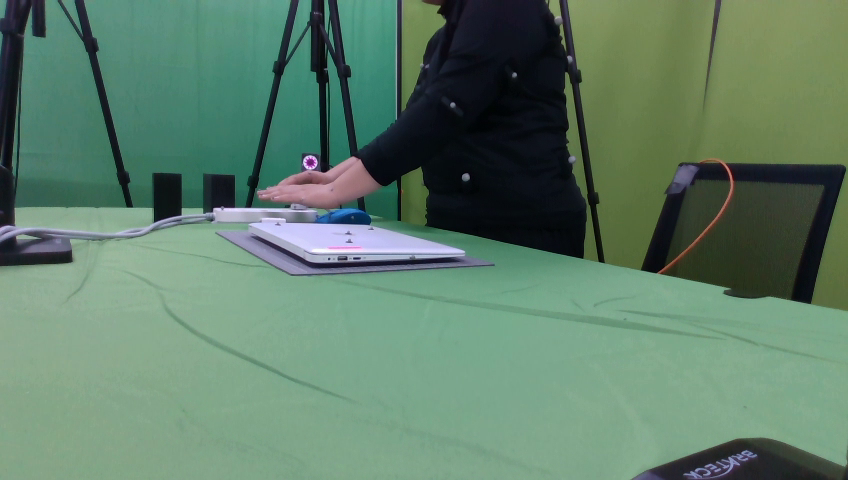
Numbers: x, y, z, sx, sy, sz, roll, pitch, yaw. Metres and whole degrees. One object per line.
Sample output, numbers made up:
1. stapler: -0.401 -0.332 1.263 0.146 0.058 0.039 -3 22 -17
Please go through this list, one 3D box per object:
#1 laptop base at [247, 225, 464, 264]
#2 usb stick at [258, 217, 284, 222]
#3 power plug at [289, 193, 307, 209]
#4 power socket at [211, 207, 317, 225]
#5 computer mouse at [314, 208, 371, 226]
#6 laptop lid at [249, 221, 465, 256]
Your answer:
1. laptop base: -0.124 0.006 0.955 0.237 0.023 0.352 2 6 -30
2. usb stick: -0.290 -0.028 1.118 0.059 0.027 0.021 -4 11 -28
3. power plug: -0.281 -0.077 1.341 0.035 0.052 0.072 2 7 -18
4. power socket: -0.334 -0.052 1.282 0.228 0.032 0.072 -2 9 -28
5. computer mouse: -0.175 -0.047 1.292 0.118 0.041 0.062 -7 14 -34
6. laptop lid: -0.122 -0.005 0.955 0.243 0.013 0.355 2 7 -28
